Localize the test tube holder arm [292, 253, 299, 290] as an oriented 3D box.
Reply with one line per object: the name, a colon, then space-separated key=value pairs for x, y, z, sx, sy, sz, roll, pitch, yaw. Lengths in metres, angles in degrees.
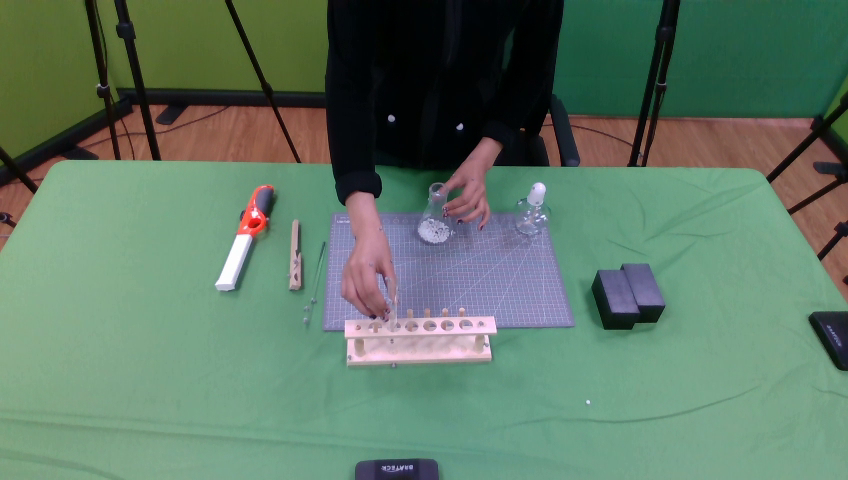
test tube holder arm: x=-0.241 y=0.057 z=1.130 sx=0.010 sy=0.015 sz=0.087 roll=24 pitch=35 yaw=-32

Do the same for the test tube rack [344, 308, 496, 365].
test tube rack: x=-0.009 y=0.155 z=1.006 sx=0.242 sy=0.085 sz=0.066 roll=-1 pitch=46 yaw=-5

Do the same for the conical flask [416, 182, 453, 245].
conical flask: x=0.023 y=-0.055 z=1.182 sx=0.075 sy=0.122 sz=0.075 roll=2 pitch=46 yaw=-2

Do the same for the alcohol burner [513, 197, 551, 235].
alcohol burner: x=0.220 y=-0.068 z=1.216 sx=0.078 sy=0.119 sz=0.077 roll=3 pitch=47 yaw=-3

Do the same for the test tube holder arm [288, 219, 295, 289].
test tube holder arm: x=-0.253 y=0.023 z=1.158 sx=0.013 sy=0.015 sz=0.177 roll=23 pitch=36 yaw=-34

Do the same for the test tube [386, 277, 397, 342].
test tube: x=-0.050 y=0.111 z=0.934 sx=0.017 sy=0.151 sz=0.017 roll=2 pitch=46 yaw=-2

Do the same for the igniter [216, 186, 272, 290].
igniter: x=-0.347 y=-0.013 z=1.181 sx=0.057 sy=0.025 sz=0.275 roll=-1 pitch=45 yaw=7

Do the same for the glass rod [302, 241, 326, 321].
glass rod: x=-0.203 y=0.072 z=1.123 sx=0.008 sy=0.008 sz=0.198 roll=5 pitch=44 yaw=1

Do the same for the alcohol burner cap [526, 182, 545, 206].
alcohol burner cap: x=0.222 y=-0.092 z=1.189 sx=0.034 sy=0.048 sz=0.033 roll=2 pitch=54 yaw=-3
